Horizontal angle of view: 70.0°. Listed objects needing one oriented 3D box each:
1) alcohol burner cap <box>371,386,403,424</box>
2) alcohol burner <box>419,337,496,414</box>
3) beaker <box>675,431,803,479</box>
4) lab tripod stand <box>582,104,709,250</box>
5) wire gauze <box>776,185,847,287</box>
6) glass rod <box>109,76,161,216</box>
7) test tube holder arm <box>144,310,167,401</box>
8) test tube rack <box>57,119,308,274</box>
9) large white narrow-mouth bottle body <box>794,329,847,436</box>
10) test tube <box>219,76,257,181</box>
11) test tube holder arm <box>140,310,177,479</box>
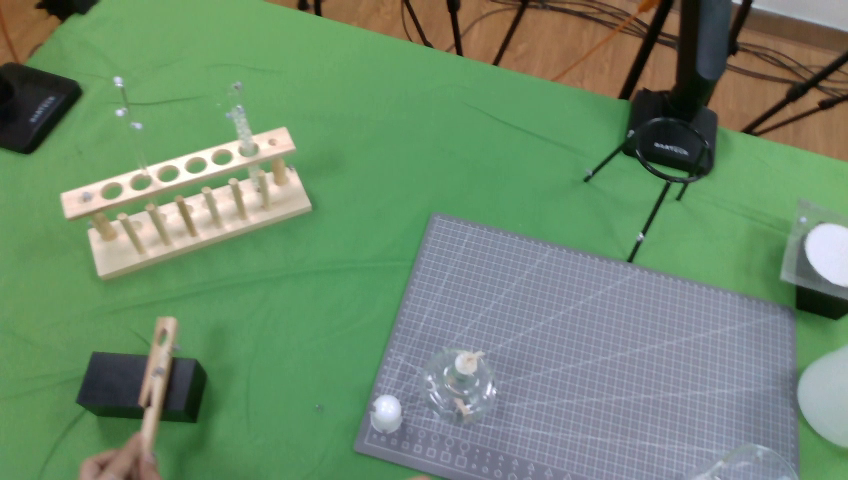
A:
[{"bbox_3d":[-0.037,0.164,0.607,0.034,0.048,0.033,1,62,-2],"label":"alcohol burner cap"},{"bbox_3d":[0.035,0.127,0.593,0.078,0.120,0.077,3,60,-5],"label":"alcohol burner"},{"bbox_3d":[0.285,0.227,0.567,0.084,0.101,0.073,12,60,4],"label":"beaker"},{"bbox_3d":[0.266,-0.080,0.719,0.148,0.132,0.147,3,62,-5],"label":"lab tripod stand"},{"bbox_3d":[0.481,0.002,0.707,0.121,0.011,0.124,22,61,8],"label":"wire gauze"},{"bbox_3d":[-0.296,-0.087,0.626,0.008,0.201,0.008,5,52,-6],"label":"glass rod"},{"bbox_3d":[-0.255,0.110,0.581,0.010,0.015,0.087,-5,62,2],"label":"test tube holder arm"},{"bbox_3d":[-0.262,-0.050,0.685,0.243,0.086,0.066,-21,65,-16],"label":"test tube rack"},{"bbox_3d":[0.460,0.121,0.588,0.102,0.196,0.101,2,60,-3],"label":"large white narrow-mouth bottle body"},{"bbox_3d":[-0.201,-0.117,0.669,0.017,0.151,0.017,1,55,-2],"label":"test tube"},{"bbox_3d":[-0.246,0.149,0.560,0.013,0.015,0.177,-6,62,1],"label":"test tube holder arm"}]
